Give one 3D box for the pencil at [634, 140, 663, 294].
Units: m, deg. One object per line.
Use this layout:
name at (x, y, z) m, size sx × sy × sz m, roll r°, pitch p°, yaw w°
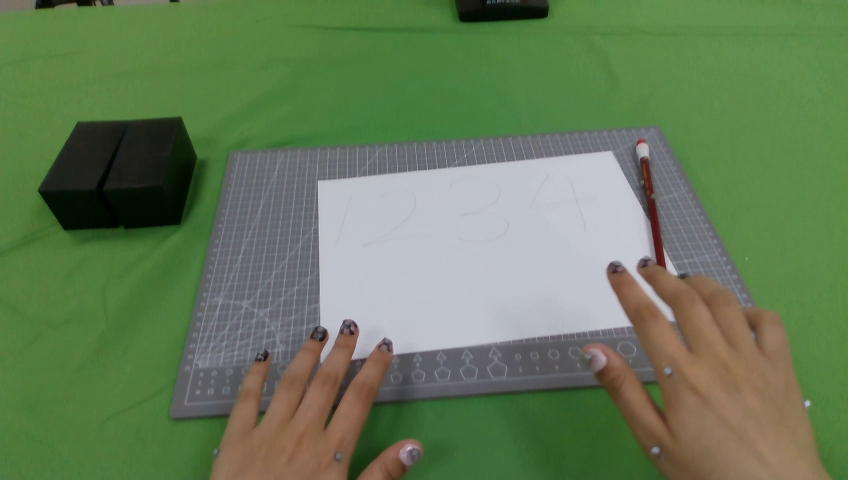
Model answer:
pencil at (0.206, -0.028, 0.555) m, size 0.012 × 0.012 × 0.192 m, roll 5°, pitch 49°, yaw 6°
